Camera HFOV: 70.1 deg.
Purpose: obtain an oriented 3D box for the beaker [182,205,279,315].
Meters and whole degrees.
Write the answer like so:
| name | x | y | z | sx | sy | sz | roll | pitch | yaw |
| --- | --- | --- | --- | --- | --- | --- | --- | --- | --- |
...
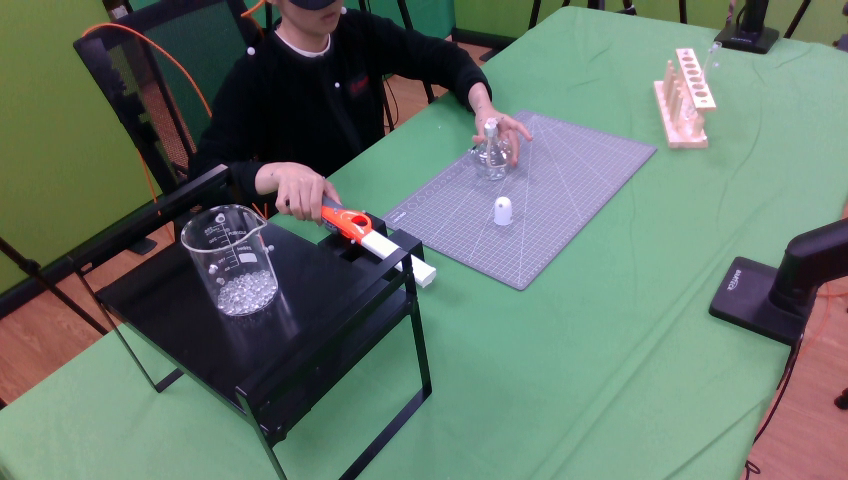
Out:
| name | x | y | z | sx | sy | sz | roll | pitch | yaw |
| --- | --- | --- | --- | --- | --- | --- | --- | --- | --- |
| beaker | -0.197 | 0.024 | 0.641 | 0.084 | 0.101 | 0.073 | -12 | 41 | -6 |

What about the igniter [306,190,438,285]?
| name | x | y | z | sx | sy | sz | roll | pitch | yaw |
| --- | --- | --- | --- | --- | --- | --- | --- | --- | --- |
| igniter | -0.089 | -0.010 | 0.919 | 0.274 | 0.025 | 0.057 | 31 | 56 | 31 |

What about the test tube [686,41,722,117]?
| name | x | y | z | sx | sy | sz | roll | pitch | yaw |
| --- | --- | --- | --- | --- | --- | --- | --- | --- | --- |
| test tube | 0.510 | -0.290 | 1.105 | 0.017 | 0.150 | 0.017 | 2 | 44 | -1 |

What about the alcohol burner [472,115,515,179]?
| name | x | y | z | sx | sy | sz | roll | pitch | yaw |
| --- | --- | --- | --- | --- | --- | --- | --- | --- | --- |
| alcohol burner | 0.123 | -0.169 | 1.079 | 0.078 | 0.119 | 0.077 | -6 | 41 | 6 |

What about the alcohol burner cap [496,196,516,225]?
| name | x | y | z | sx | sy | sz | roll | pitch | yaw |
| --- | --- | --- | --- | --- | --- | --- | --- | --- | --- |
| alcohol burner cap | 0.134 | -0.051 | 0.995 | 0.034 | 0.048 | 0.033 | -5 | 42 | 5 |

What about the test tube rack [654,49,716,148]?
| name | x | y | z | sx | sy | sz | roll | pitch | yaw |
| --- | --- | --- | --- | --- | --- | --- | --- | --- | --- |
| test tube rack | 0.502 | -0.280 | 1.176 | 0.066 | 0.085 | 0.241 | 1 | 41 | 11 |
